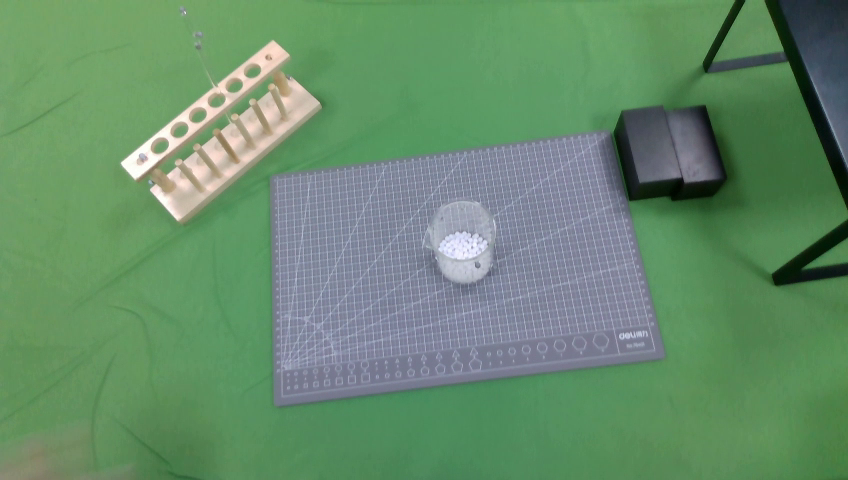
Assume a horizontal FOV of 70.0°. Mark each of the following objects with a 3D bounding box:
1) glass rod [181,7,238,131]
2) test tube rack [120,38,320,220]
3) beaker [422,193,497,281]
[{"bbox_3d":[-0.255,-0.198,0.732,0.008,0.201,0.008,0,61,1],"label":"glass rod"},{"bbox_3d":[-0.255,-0.142,0.781,0.242,0.086,0.066,-43,72,-11],"label":"test tube rack"},{"bbox_3d":[0.041,0.003,0.697,0.084,0.101,0.073,-18,69,-2],"label":"beaker"}]
